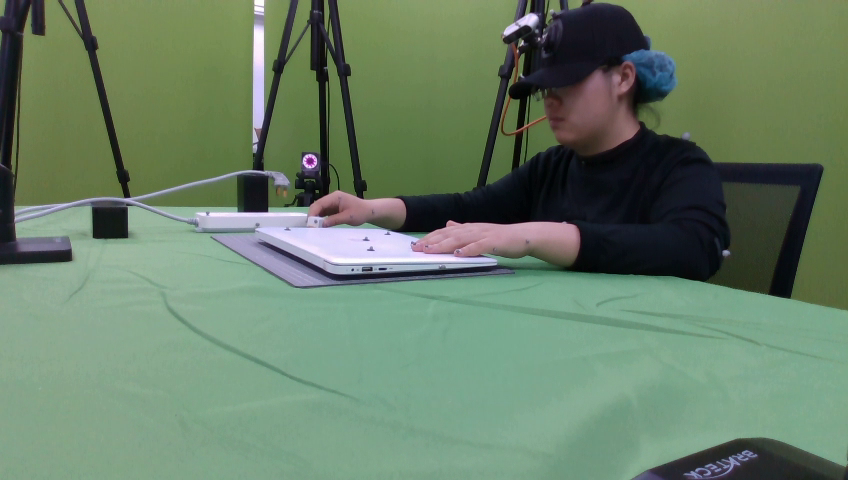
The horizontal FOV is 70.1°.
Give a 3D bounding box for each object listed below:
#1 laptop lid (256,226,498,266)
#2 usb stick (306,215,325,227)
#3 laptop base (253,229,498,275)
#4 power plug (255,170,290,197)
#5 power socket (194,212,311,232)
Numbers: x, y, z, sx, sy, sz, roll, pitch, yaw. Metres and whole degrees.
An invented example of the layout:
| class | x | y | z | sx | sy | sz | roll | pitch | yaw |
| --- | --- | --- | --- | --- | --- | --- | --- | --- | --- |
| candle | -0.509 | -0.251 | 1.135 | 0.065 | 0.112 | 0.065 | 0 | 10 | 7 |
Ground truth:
| class | x | y | z | sx | sy | sz | roll | pitch | yaw |
| --- | --- | --- | --- | --- | --- | --- | --- | --- | --- |
| laptop lid | -0.085 | 0.004 | 0.878 | 0.243 | 0.013 | 0.355 | 1 | 7 | -29 |
| usb stick | -0.195 | -0.029 | 1.077 | 0.021 | 0.027 | 0.059 | 9 | 11 | 7 |
| laptop base | -0.088 | 0.016 | 0.878 | 0.237 | 0.023 | 0.352 | 3 | 6 | -31 |
| power plug | -0.323 | -0.119 | 1.285 | 0.073 | 0.052 | 0.035 | 2 | -13 | -13 |
| power socket | -0.322 | -0.037 | 1.153 | 0.228 | 0.032 | 0.072 | -2 | 8 | -34 |
